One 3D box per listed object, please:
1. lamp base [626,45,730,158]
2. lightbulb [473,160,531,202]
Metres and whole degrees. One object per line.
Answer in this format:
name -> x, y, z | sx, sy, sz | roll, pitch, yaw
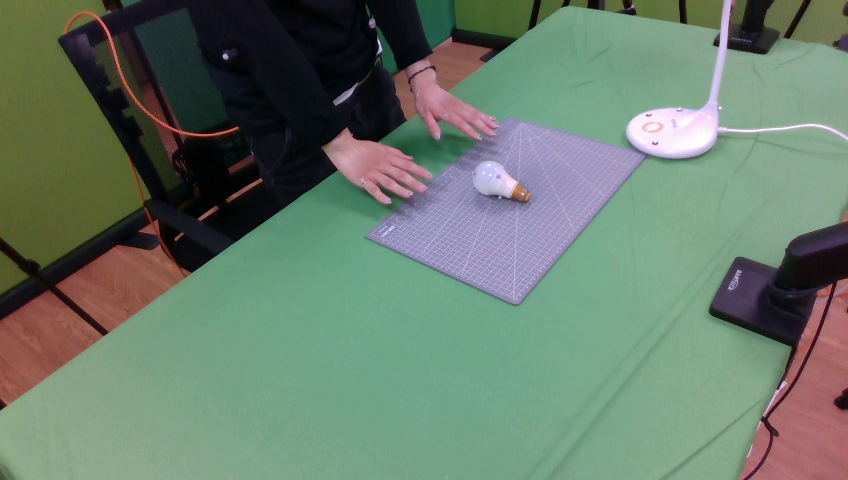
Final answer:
lamp base -> 0.467, -0.262, 1.085 | 0.179, 0.181, 0.159 | -5, 41, -1
lightbulb -> 0.134, -0.097, 1.038 | 0.107, 0.059, 0.059 | 29, 50, 15
